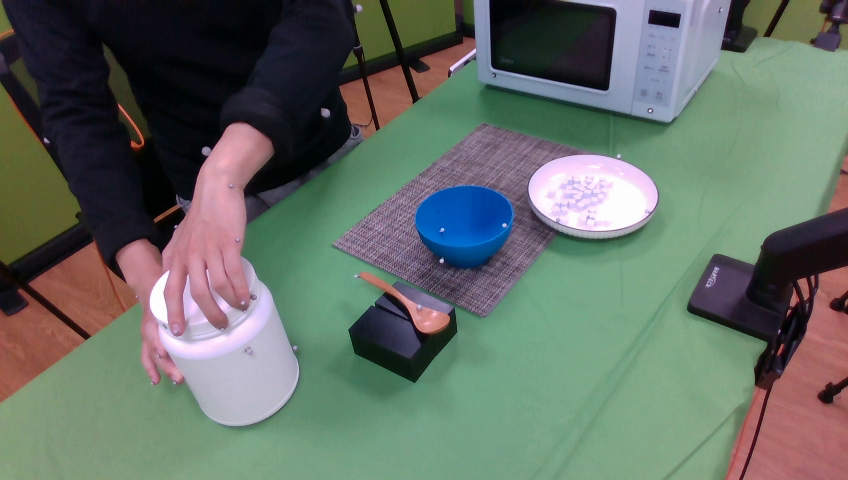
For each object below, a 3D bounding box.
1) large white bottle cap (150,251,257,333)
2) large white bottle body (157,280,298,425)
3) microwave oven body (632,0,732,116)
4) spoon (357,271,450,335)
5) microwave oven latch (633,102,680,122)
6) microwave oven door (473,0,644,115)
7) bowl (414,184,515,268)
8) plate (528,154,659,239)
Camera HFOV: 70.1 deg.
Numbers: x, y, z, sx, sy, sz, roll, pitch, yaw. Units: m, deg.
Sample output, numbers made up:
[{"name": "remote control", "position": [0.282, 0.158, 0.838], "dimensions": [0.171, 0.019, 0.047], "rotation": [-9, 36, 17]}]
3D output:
[{"name": "large white bottle cap", "position": [-0.246, 0.056, 0.678], "dimensions": [0.115, 0.018, 0.114], "rotation": [-3, 41, 3]}, {"name": "large white bottle body", "position": [-0.237, 0.122, 0.734], "dimensions": [0.130, 0.185, 0.130], "rotation": [-5, 40, 4]}, {"name": "microwave oven body", "position": [0.377, -0.462, 1.267], "dimensions": [0.438, 0.261, 0.327], "rotation": [21, 48, 30]}, {"name": "spoon", "position": [-0.034, 0.078, 0.812], "dimensions": [0.042, 0.022, 0.192], "rotation": [-37, 43, -23]}, {"name": "microwave oven latch", "position": [0.444, -0.249, 1.157], "dimensions": [0.078, 0.029, 0.030], "rotation": [21, 49, 30]}, {"name": "microwave oven door", "position": [0.257, -0.396, 1.199], "dimensions": [0.353, 0.245, 0.039], "rotation": [21, 48, 29]}, {"name": "bowl", "position": [0.063, -0.010, 0.922], "dimensions": [0.151, 0.077, 0.150], "rotation": [-4, 40, 4]}, {"name": "plate", "position": [0.274, -0.069, 0.993], "dimensions": [0.209, 0.038, 0.208], "rotation": [-2, 42, 2]}]
